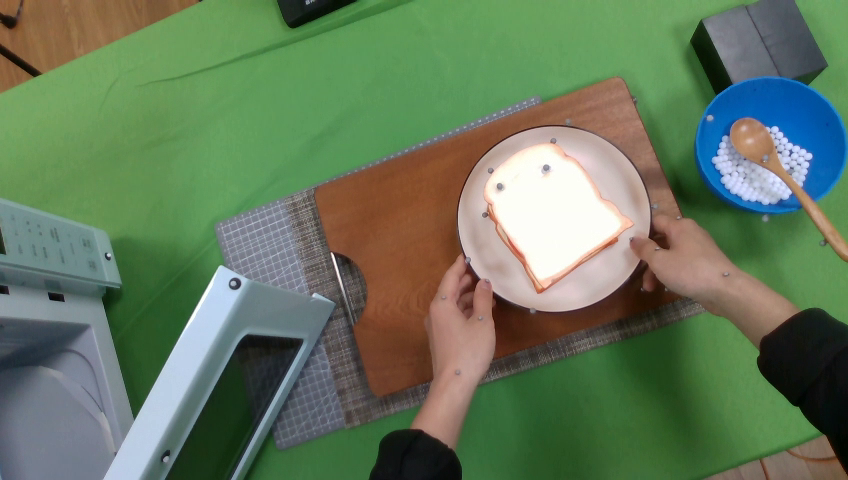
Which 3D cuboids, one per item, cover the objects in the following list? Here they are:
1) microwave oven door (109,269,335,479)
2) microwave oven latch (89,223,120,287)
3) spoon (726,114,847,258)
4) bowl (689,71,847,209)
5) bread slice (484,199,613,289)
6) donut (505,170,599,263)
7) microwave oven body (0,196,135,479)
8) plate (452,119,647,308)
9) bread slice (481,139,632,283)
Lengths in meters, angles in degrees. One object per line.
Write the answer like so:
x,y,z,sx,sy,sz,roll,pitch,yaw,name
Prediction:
-0.220,0.203,0.608,0.039,0.245,0.355,26,85,13,microwave oven door
-0.418,0.019,0.774,0.030,0.029,0.079,-23,78,4,microwave oven latch
0.377,-0.060,0.629,0.041,0.022,0.191,-21,55,3,spoon
0.365,-0.099,0.668,0.151,0.077,0.151,-1,81,9,bowl
0.128,-0.025,0.674,0.105,0.019,0.131,-36,81,2,bread slice
0.134,-0.025,0.641,0.099,0.048,0.099,0,85,2,donut
-0.506,0.219,0.655,0.326,0.261,0.439,-23,78,4,microwave oven body
0.136,-0.028,0.671,0.207,0.039,0.207,-1,82,10,plate
0.122,-0.035,0.614,0.107,0.018,0.133,-40,72,4,bread slice
